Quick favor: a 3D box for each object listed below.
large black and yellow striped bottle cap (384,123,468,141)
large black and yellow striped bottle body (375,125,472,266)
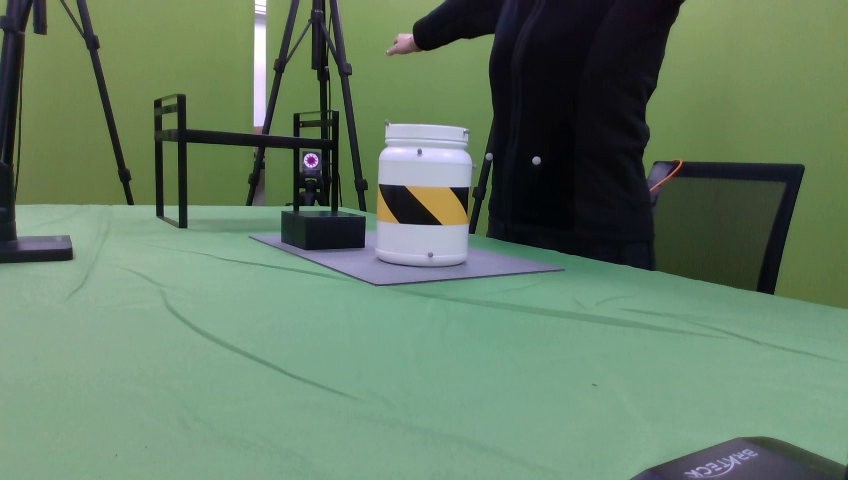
[{"bbox_3d":[0.003,-0.147,0.827,0.115,0.019,0.115,3,9,0],"label":"large black and yellow striped bottle cap"},{"bbox_3d":[-0.001,-0.064,0.837,0.131,0.184,0.130,2,7,0],"label":"large black and yellow striped bottle body"}]
